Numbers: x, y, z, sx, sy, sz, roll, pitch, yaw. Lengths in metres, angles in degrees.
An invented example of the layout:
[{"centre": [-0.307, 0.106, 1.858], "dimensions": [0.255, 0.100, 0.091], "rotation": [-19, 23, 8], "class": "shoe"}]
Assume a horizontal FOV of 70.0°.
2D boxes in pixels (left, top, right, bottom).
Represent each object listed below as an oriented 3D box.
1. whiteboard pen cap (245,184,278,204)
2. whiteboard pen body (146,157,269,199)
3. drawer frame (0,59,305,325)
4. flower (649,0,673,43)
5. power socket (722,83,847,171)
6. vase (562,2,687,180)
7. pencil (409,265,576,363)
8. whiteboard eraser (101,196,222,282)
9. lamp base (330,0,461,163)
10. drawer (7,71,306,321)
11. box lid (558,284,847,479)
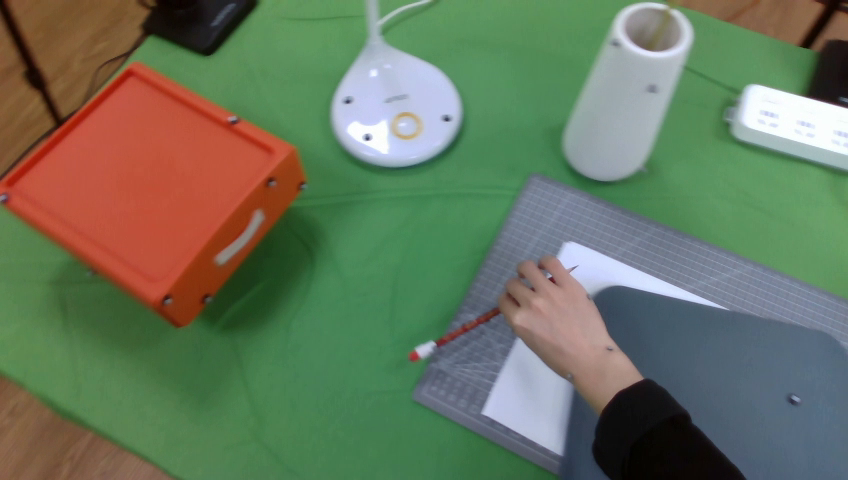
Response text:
[{"centre": [-0.172, -0.048, 0.636], "dimensions": [0.033, 0.018, 0.018], "rotation": [14, 64, 16], "class": "whiteboard pen cap"}, {"centre": [-0.230, -0.064, 0.644], "dimensions": [0.140, 0.017, 0.017], "rotation": [17, 65, 7], "class": "whiteboard pen body"}, {"centre": [-0.269, -0.054, 0.619], "dimensions": [0.213, 0.083, 0.201], "rotation": [29, 68, 12], "class": "drawer frame"}, {"centre": [0.219, -0.198, 0.571], "dimensions": [0.038, 0.364, 0.043], "rotation": [13, 46, 0], "class": "flower"}, {"centre": [0.473, -0.127, 0.715], "dimensions": [0.226, 0.033, 0.072], "rotation": [19, 67, 10], "class": "power socket"}, {"centre": [0.207, -0.150, 0.639], "dimensions": [0.098, 0.201, 0.097], "rotation": [-1, 63, 2], "class": "vase"}, {"centre": [0.071, 0.072, 0.607], "dimensions": [0.194, 0.012, 0.012], "rotation": [-28, 66, -8], "class": "pencil"}, {"centre": [-0.262, -0.001, 0.609], "dimensions": [0.112, 0.042, 0.055], "rotation": [21, 59, 19], "class": "whiteboard eraser"}, {"centre": [-0.043, -0.206, 0.681], "dimensions": [0.161, 0.182, 0.177], "rotation": [-26, 63, -11], "class": "lamp base"}, {"centre": [-0.263, -0.053, 0.616], "dimensions": [0.211, 0.074, 0.194], "rotation": [29, 69, 14], "class": "drawer"}, {"centre": [0.259, 0.228, 0.557], "dimensions": [0.263, 0.015, 0.369], "rotation": [13, 66, 7], "class": "box lid"}]
